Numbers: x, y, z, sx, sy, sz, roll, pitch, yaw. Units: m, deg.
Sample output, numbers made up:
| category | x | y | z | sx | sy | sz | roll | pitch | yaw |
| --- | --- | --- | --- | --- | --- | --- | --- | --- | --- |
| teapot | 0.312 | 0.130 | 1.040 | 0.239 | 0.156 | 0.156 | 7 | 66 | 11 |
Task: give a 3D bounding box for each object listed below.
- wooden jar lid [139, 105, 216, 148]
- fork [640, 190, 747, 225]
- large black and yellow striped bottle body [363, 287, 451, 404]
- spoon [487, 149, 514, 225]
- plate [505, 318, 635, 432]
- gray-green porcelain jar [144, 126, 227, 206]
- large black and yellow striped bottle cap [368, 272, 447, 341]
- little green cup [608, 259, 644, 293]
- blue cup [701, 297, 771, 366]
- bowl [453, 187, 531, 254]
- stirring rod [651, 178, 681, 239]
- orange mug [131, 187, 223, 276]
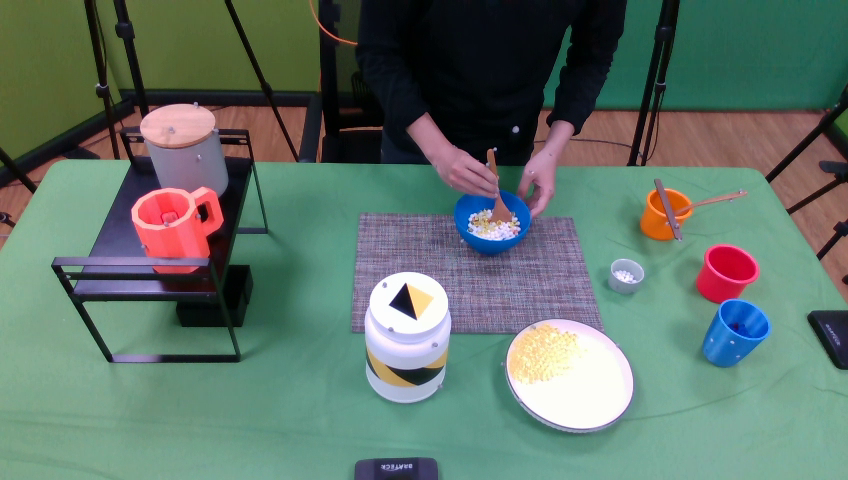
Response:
| category | x | y | z | sx | sy | sz | roll | pitch | yaw |
| --- | --- | --- | --- | --- | --- | --- | --- | --- | --- |
| wooden jar lid | -0.372 | -0.169 | 0.920 | 0.108 | 0.021 | 0.107 | 4 | 44 | -4 |
| fork | 0.533 | -0.065 | 1.211 | 0.207 | 0.019 | 0.028 | -22 | 28 | 39 |
| large black and yellow striped bottle body | -0.027 | 0.153 | 0.935 | 0.131 | 0.185 | 0.130 | 2 | 46 | -2 |
| spoon | 0.137 | -0.095 | 1.138 | 0.041 | 0.195 | 0.021 | -9 | 41 | 11 |
| plate | 0.235 | 0.221 | 0.991 | 0.209 | 0.038 | 0.208 | 2 | 46 | -2 |
| gray-green porcelain jar | -0.375 | -0.125 | 0.967 | 0.106 | 0.127 | 0.105 | 2 | 46 | -2 |
| large black and yellow striped bottle cap | -0.023 | 0.093 | 0.875 | 0.115 | 0.019 | 0.114 | 3 | 46 | -3 |
| little green cup | 0.379 | 0.070 | 1.147 | 0.061 | 0.039 | 0.061 | 3 | 45 | -2 |
| blue cup | 0.519 | 0.162 | 1.025 | 0.093 | 0.101 | 0.092 | 3 | 45 | -3 |
| bowl | 0.128 | -0.025 | 1.187 | 0.151 | 0.077 | 0.150 | 2 | 46 | -2 |
| stirring rod | 0.480 | -0.065 | 1.204 | 0.014 | 0.006 | 0.175 | 3 | 46 | -4 |
| orange mug | -0.354 | -0.022 | 0.888 | 0.083 | 0.101 | 0.126 | 31 | 55 | 24 |
